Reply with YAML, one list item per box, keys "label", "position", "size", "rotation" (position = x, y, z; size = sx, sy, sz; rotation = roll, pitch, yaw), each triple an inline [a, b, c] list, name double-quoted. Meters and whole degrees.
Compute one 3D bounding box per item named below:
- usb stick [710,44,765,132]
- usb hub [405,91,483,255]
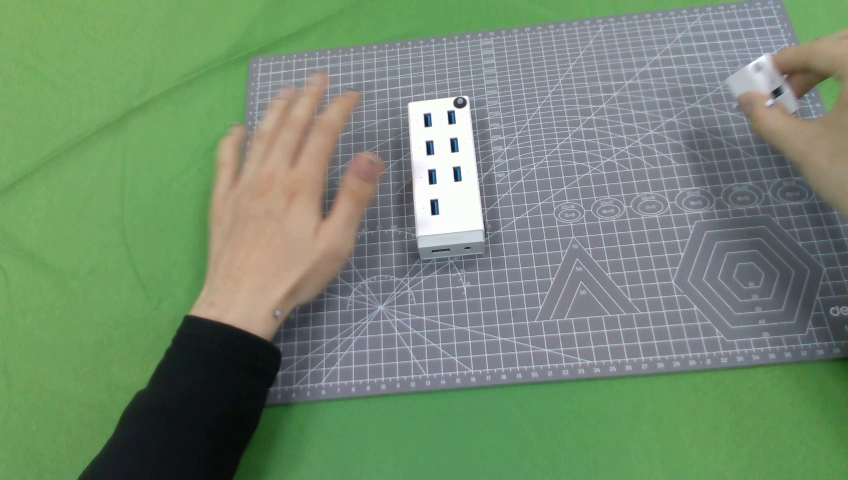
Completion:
- label: "usb stick"
  position: [0.220, -0.106, 0.422]
  size: [0.027, 0.022, 0.059]
  rotation: [14, 92, 40]
- label: "usb hub"
  position: [0.014, -0.051, 0.449]
  size: [0.049, 0.025, 0.124]
  rotation: [-6, 66, 3]
